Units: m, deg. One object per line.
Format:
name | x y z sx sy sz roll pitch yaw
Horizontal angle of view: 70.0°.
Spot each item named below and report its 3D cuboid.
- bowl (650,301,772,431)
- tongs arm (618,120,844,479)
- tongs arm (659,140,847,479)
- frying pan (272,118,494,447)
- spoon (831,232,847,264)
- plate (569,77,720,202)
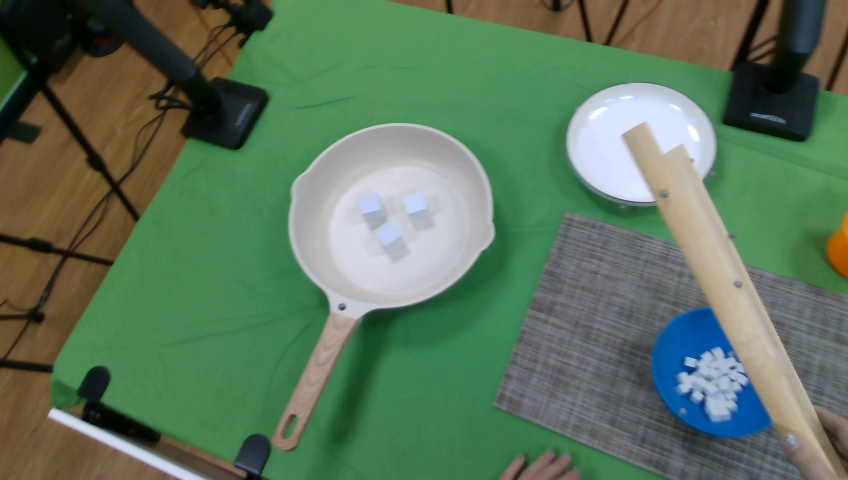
bowl | 0.342 0.156 0.726 0.151 0.077 0.150 -3 66 7
tongs arm | 0.277 0.064 0.543 0.028 0.028 0.386 -30 82 26
tongs arm | 0.322 0.064 0.606 0.026 0.051 0.382 -30 70 30
frying pan | -0.084 0.046 0.829 0.305 0.103 0.485 17 62 16
spoon | 0.595 -0.030 0.735 0.022 0.194 0.041 6 54 -38
plate | 0.318 -0.144 0.888 0.207 0.039 0.206 -3 66 8
